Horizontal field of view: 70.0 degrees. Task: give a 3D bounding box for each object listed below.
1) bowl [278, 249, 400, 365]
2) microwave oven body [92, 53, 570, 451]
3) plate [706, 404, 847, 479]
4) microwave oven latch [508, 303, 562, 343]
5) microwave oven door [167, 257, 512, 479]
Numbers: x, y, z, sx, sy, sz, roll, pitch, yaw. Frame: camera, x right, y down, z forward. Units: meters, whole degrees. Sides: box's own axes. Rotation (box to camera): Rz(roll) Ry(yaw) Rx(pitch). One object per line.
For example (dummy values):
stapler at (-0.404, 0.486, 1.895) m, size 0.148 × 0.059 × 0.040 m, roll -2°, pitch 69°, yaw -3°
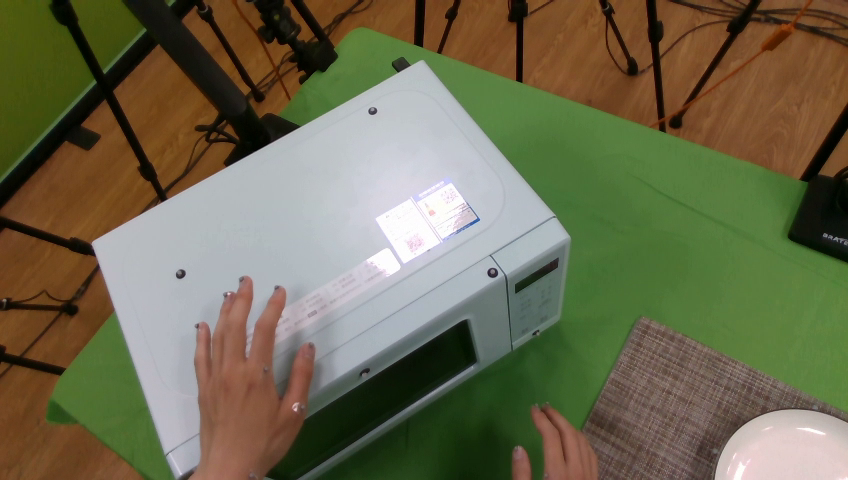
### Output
bowl at (-0.098, 0.095, 0.761) m, size 0.151 × 0.077 × 0.150 m, roll -4°, pitch 58°, yaw 7°
microwave oven body at (-0.099, 0.040, 0.748) m, size 0.442 × 0.262 × 0.323 m, roll -31°, pitch 63°, yaw -7°
plate at (0.416, 0.287, 0.663) m, size 0.207 × 0.039 × 0.206 m, roll -4°, pitch 62°, yaw 7°
microwave oven latch at (0.141, 0.100, 0.788) m, size 0.079 × 0.030 × 0.030 m, roll -30°, pitch 63°, yaw -6°
microwave oven door at (-0.063, 0.164, 0.672) m, size 0.356 × 0.246 × 0.039 m, roll -31°, pitch 61°, yaw -7°
